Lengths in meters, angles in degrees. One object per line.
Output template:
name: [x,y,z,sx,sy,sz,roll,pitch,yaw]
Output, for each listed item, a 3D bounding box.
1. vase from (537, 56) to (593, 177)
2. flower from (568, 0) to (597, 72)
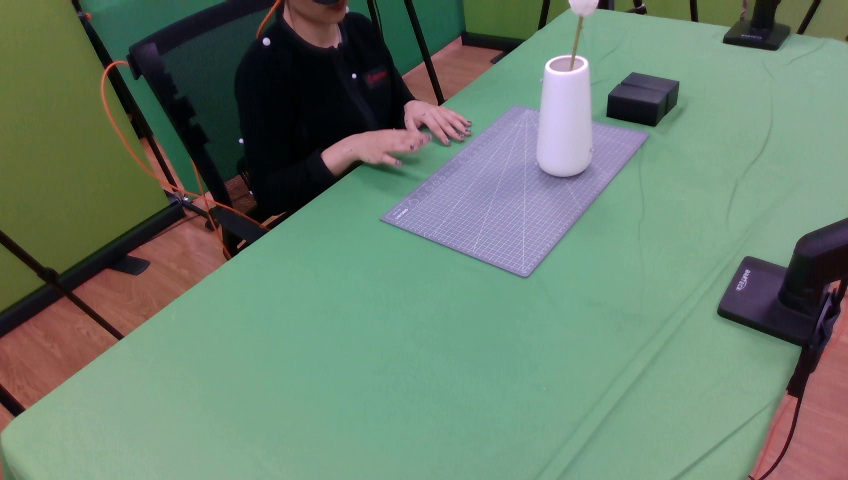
vase: [0.245,-0.209,1.040,0.098,0.201,0.097,-4,40,4]
flower: [0.232,-0.260,0.974,0.044,0.363,0.038,-23,59,-10]
